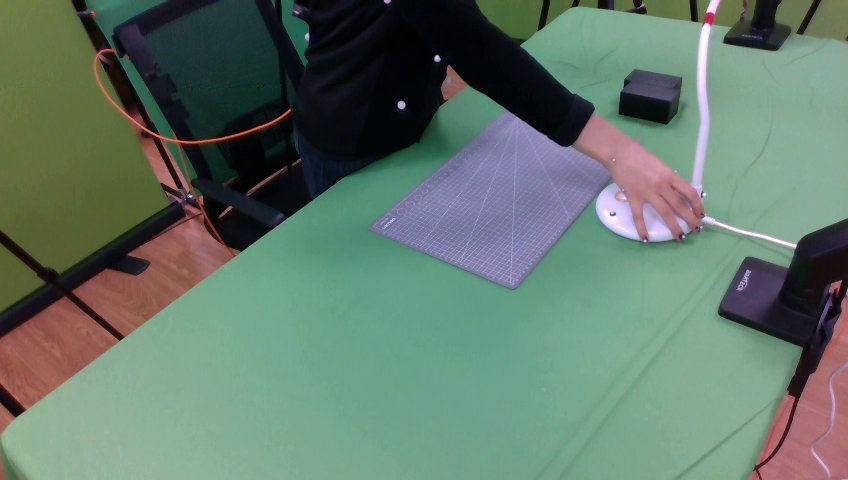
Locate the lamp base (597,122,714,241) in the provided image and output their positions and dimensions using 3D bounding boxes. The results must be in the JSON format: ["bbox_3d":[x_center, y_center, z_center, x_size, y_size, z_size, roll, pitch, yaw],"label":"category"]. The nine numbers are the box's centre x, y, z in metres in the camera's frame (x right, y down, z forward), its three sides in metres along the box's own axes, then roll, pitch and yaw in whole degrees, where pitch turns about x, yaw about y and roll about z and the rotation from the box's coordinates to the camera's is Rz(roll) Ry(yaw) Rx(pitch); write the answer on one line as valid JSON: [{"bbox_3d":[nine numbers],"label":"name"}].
[{"bbox_3d":[0.363,-0.109,0.921,0.178,0.181,0.160,13,45,21],"label":"lamp base"}]

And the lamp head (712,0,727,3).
[{"bbox_3d":[0.408,-0.385,0.818,0.112,0.124,0.112,-17,46,19],"label":"lamp head"}]
